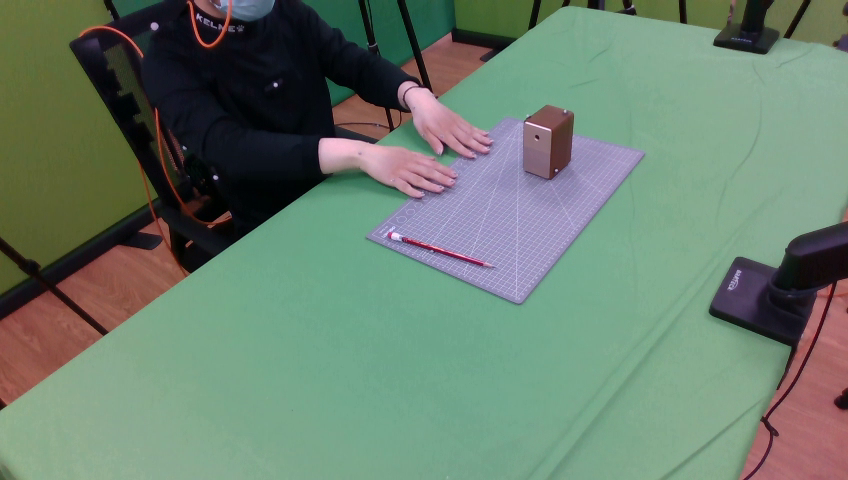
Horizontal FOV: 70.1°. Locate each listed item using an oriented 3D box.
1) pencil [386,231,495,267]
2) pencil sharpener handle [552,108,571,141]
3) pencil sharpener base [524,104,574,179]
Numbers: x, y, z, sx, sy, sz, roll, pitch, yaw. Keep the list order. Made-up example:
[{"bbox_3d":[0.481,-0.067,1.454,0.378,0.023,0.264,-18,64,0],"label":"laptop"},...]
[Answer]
[{"bbox_3d":[0.024,0.015,0.951,0.193,0.012,0.012,17,46,23],"label":"pencil"},{"bbox_3d":[0.254,-0.212,1.091,0.035,0.068,0.031,27,51,33],"label":"pencil sharpener handle"},{"bbox_3d":[0.222,-0.176,1.071,0.061,0.107,0.077,26,50,33],"label":"pencil sharpener base"}]
